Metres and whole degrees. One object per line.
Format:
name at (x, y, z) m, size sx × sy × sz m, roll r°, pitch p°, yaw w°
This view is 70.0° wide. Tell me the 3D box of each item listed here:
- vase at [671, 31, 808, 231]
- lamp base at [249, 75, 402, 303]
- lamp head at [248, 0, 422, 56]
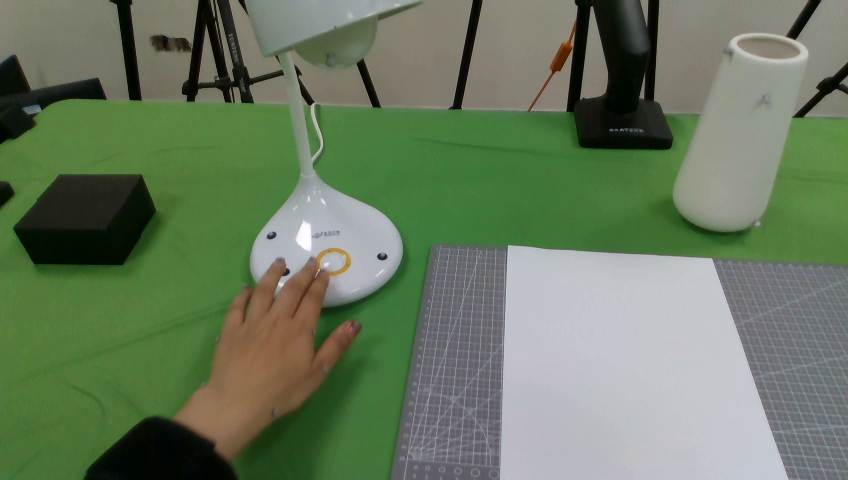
vase at (0.325, -0.108, 0.631) m, size 0.098 × 0.202 × 0.097 m, roll -2°, pitch 39°, yaw 2°
lamp base at (-0.111, -0.058, 0.601) m, size 0.161 × 0.182 × 0.177 m, roll -18°, pitch 41°, yaw -18°
lamp head at (-0.070, -0.189, 0.378) m, size 0.112 × 0.123 × 0.112 m, roll -20°, pitch 14°, yaw 6°
